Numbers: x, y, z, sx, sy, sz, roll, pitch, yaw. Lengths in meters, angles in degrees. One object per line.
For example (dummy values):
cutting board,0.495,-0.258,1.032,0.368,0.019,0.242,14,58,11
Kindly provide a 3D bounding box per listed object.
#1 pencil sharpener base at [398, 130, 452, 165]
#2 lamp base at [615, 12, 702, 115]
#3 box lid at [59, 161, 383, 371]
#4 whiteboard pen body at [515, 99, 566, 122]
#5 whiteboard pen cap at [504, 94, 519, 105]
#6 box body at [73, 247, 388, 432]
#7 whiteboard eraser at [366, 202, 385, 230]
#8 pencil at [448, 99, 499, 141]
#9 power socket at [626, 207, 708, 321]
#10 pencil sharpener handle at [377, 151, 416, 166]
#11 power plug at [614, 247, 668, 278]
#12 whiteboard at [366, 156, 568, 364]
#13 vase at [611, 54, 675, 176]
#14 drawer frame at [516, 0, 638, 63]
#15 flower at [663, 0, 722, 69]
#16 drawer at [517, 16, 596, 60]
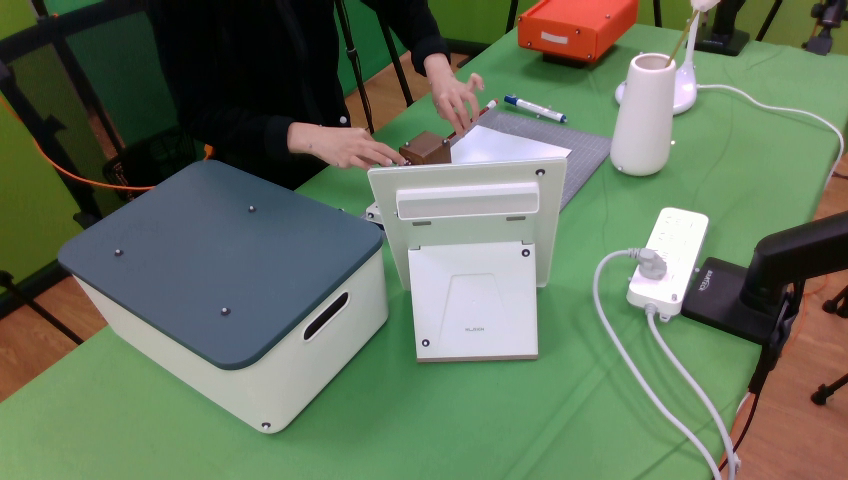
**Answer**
pencil sharpener base,0.004,-0.123,1.049,0.061,0.107,0.077,28,52,34
lamp base,0.484,-0.364,1.211,0.180,0.181,0.159,-15,41,-14
box lid,-0.262,0.010,0.777,0.369,0.015,0.264,21,48,29
whiteboard pen body,0.234,-0.274,1.262,0.139,0.017,0.017,28,51,29
whiteboard pen cap,0.190,-0.299,1.292,0.033,0.018,0.018,30,52,28
box body,-0.255,0.065,0.827,0.361,0.161,0.255,21,48,29
whiteboard eraser,-0.038,-0.038,1.006,0.112,0.042,0.055,16,47,25
pencil,0.073,-0.203,1.084,0.012,0.012,0.194,27,56,34
power socket,0.359,0.025,0.886,0.072,0.033,0.227,16,46,26
pencil sharpener handle,-0.045,-0.125,1.011,0.067,0.036,0.031,35,55,26
power plug,0.306,0.031,0.851,0.072,0.053,0.035,24,49,33
whiteboard,0.059,0.050,0.738,0.217,0.307,0.143,-2,60,6
vase,0.377,-0.209,1.031,0.098,0.201,0.097,-3,40,3
drawer frame,0.355,-0.508,1.410,0.200,0.083,0.214,23,51,32
flower,0.379,-0.261,0.965,0.044,0.362,0.038,20,53,5
drawer,0.353,-0.506,1.405,0.193,0.073,0.212,23,49,32
